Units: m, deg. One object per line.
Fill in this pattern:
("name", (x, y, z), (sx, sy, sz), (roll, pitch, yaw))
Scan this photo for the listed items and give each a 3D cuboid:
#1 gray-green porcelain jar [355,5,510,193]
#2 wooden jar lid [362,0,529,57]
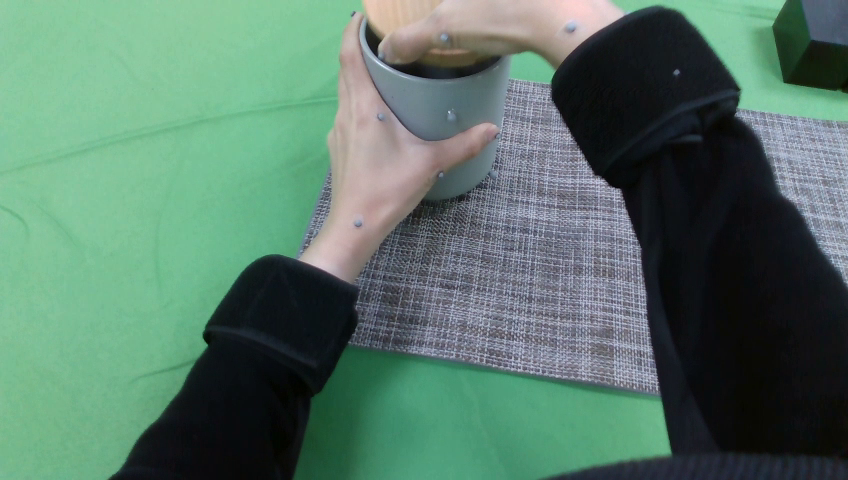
("gray-green porcelain jar", (0.004, -0.107, 0.454), (0.106, 0.127, 0.105), (1, 54, -1))
("wooden jar lid", (0.014, -0.158, 0.389), (0.108, 0.021, 0.107), (0, 61, 1))
